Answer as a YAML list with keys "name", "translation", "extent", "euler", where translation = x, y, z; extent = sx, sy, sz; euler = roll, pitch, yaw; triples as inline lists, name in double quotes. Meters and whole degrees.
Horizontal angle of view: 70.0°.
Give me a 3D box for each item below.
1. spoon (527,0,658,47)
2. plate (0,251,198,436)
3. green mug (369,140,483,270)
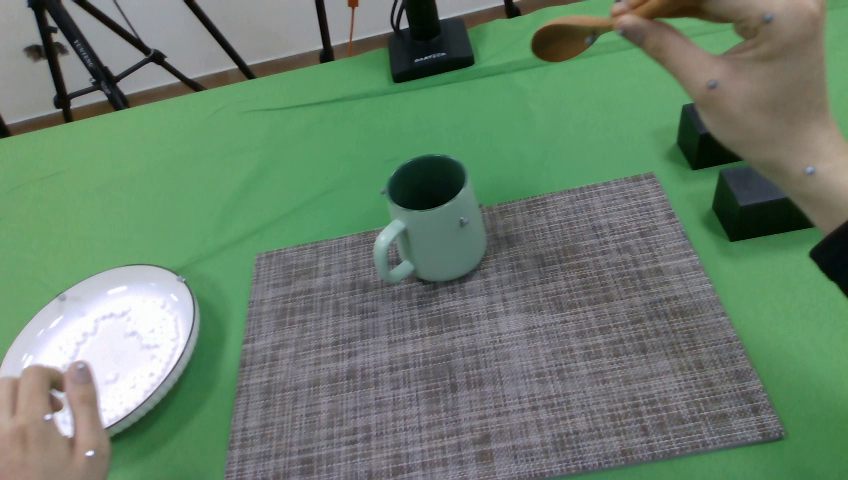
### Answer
- name: "spoon"
  translation: [0.120, -0.144, 0.362]
  extent: [0.192, 0.042, 0.021]
  euler: [21, 95, 69]
- name: "plate"
  translation: [-0.325, 0.102, 0.616]
  extent: [0.209, 0.038, 0.207]
  euler: [-7, 49, 8]
- name: "green mug"
  translation: [-0.003, -0.022, 0.589]
  extent: [0.091, 0.106, 0.125]
  euler: [30, 63, 32]
